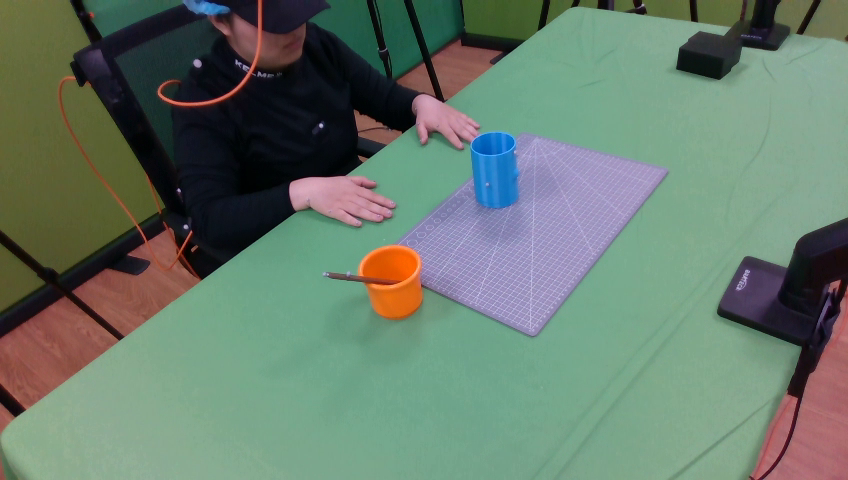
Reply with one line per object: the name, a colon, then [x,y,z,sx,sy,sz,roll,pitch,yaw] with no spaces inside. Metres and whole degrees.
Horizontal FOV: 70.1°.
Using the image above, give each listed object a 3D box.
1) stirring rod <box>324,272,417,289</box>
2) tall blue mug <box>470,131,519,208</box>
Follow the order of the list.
stirring rod: [-0.069,0.057,0.840,0.014,0.006,0.178,26,9,39]
tall blue mug: [0.122,-0.129,1.042,0.078,0.108,0.106,-7,40,5]
